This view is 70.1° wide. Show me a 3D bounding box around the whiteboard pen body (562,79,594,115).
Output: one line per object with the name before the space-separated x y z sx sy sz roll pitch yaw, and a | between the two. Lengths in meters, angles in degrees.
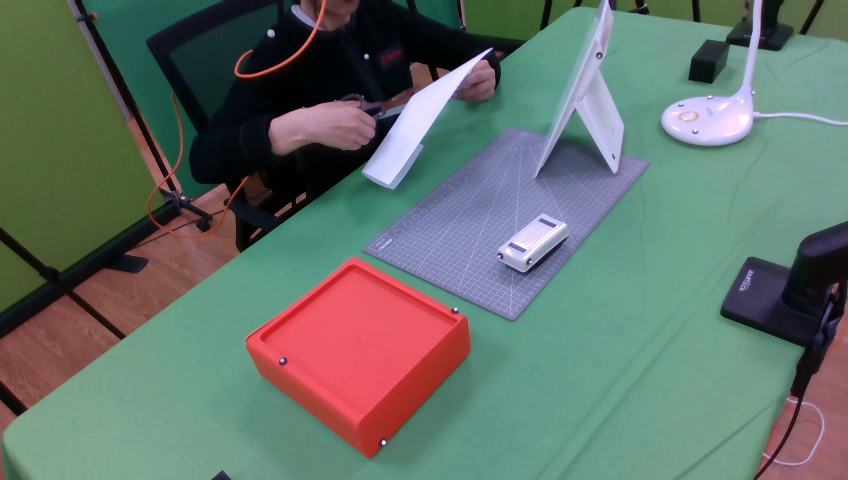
whiteboard pen body | 0.328 -0.306 1.278 0.017 0.017 0.141 20 52 30

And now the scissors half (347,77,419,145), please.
scissors half | -0.071 -0.235 1.100 0.175 0.040 0.013 -47 18 -6

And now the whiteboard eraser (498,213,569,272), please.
whiteboard eraser | 0.168 0.006 0.923 0.113 0.042 0.055 -36 48 -28

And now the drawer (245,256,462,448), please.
drawer | -0.089 0.136 0.792 0.210 0.073 0.195 26 51 34

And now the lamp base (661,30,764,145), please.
lamp base | 0.535 -0.287 1.096 0.179 0.181 0.159 -10 40 -4

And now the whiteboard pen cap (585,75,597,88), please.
whiteboard pen cap | 0.362 -0.343 1.310 0.018 0.018 0.033 20 54 30

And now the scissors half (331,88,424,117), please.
scissors half | -0.082 -0.256 1.095 0.176 0.040 0.012 -13 7 -13

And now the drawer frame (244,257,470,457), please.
drawer frame | -0.084 0.138 0.788 0.212 0.083 0.202 25 50 33

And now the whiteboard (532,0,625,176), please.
whiteboard | 0.320 -0.259 1.050 0.144 0.306 0.217 21 45 5
